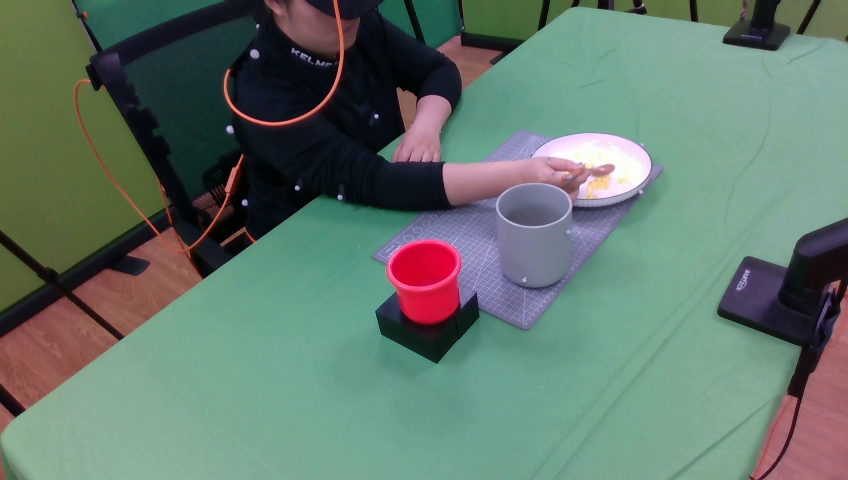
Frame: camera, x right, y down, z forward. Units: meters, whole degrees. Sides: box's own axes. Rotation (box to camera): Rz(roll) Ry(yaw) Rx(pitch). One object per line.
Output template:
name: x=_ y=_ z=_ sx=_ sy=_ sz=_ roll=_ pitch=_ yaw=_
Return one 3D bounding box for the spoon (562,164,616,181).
spoon: x=0.254 y=-0.107 z=0.944 sx=0.041 sy=0.021 sz=0.195 roll=-1 pitch=6 yaw=36

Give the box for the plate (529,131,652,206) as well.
plate: x=0.287 y=-0.121 z=1.056 sx=0.207 sy=0.039 sz=0.206 roll=-5 pitch=40 yaw=5

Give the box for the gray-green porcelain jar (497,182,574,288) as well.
gray-green porcelain jar: x=0.161 y=-0.003 z=0.869 sx=0.106 sy=0.127 sz=0.105 roll=-5 pitch=40 yaw=5
